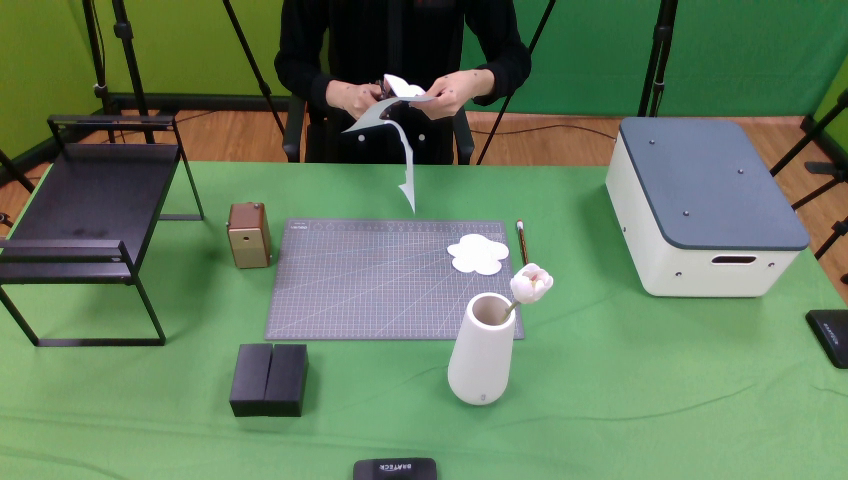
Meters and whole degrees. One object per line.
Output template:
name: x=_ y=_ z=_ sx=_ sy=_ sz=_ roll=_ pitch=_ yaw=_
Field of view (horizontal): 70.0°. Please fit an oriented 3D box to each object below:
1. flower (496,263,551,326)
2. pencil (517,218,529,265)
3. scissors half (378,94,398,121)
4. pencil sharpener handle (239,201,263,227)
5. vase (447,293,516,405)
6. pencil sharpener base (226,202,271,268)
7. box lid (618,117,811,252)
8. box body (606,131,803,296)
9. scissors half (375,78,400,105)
flower: x=0.102 y=0.120 z=0.853 sx=0.044 sy=0.363 sz=0.038 roll=-1 pitch=64 yaw=-10
pencil: x=0.201 y=0.028 z=1.196 sx=0.012 sy=0.012 sz=0.193 roll=1 pitch=48 yaw=-3
scissors half: x=-0.063 y=-0.241 z=1.089 sx=0.013 sy=0.040 sz=0.175 roll=-11 pitch=4 yaw=-12
pencil sharpener handle: x=-0.324 y=-0.056 z=1.150 sx=0.036 sy=0.068 sz=0.030 roll=-14 pitch=46 yaw=4
vase: x=0.091 y=0.169 z=0.921 sx=0.098 sy=0.201 sz=0.097 roll=3 pitch=47 yaw=-3
pencil sharpener base: x=-0.323 y=-0.010 z=1.123 sx=0.061 sy=0.107 sz=0.076 roll=-3 pitch=46 yaw=-7
box lid: x=0.534 y=-0.117 z=1.149 sx=0.263 sy=0.015 sz=0.369 roll=0 pitch=47 yaw=-3
box body: x=0.530 y=-0.067 z=1.204 sx=0.254 sy=0.161 sz=0.361 roll=0 pitch=46 yaw=-4
scissors half: x=-0.066 y=-0.262 z=1.083 sx=0.013 sy=0.040 sz=0.174 roll=-16 pitch=26 yaw=-11
